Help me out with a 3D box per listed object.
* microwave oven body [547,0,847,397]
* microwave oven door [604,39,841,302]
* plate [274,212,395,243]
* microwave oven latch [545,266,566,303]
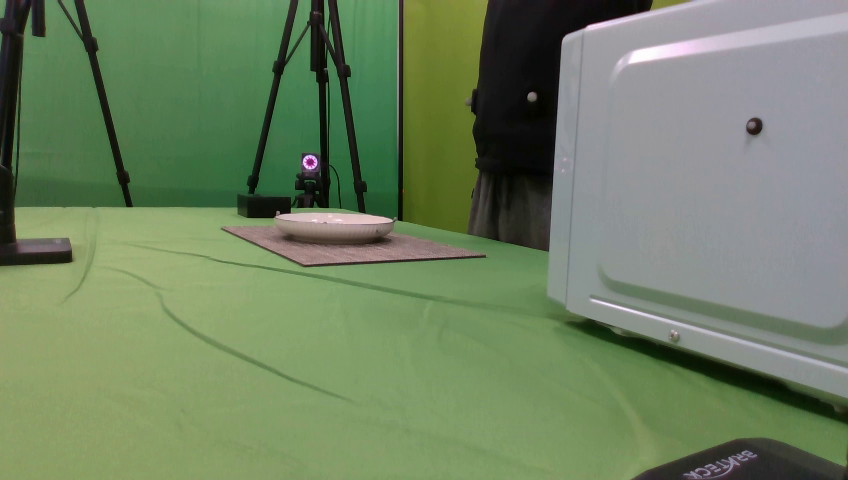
[{"bbox_3d":[0.378,-0.045,0.509,0.444,0.260,0.324,-2,8,-31],"label":"microwave oven body"},{"bbox_3d":[0.340,-0.070,0.654,0.358,0.243,0.039,-3,9,-31],"label":"microwave oven door"},{"bbox_3d":[-0.157,-0.022,1.066,0.209,0.038,0.209,2,7,0],"label":"plate"},{"bbox_3d":[0.147,0.038,0.555,0.079,0.029,0.030,-2,7,-29],"label":"microwave oven latch"}]
